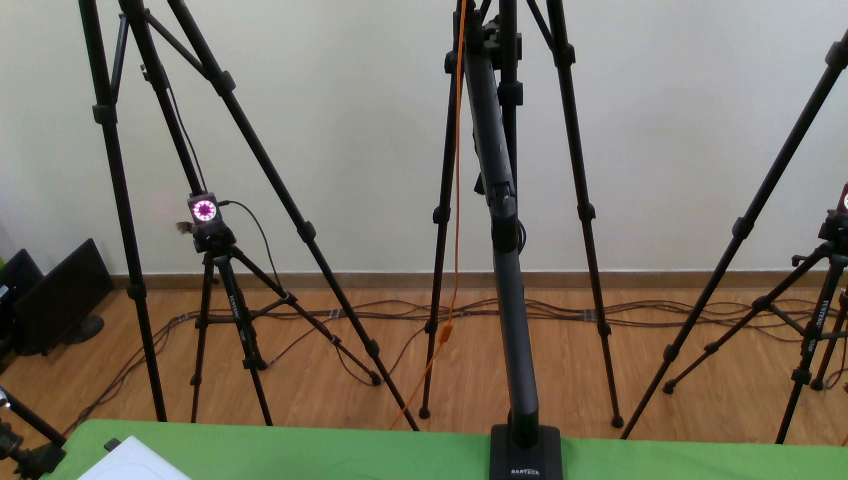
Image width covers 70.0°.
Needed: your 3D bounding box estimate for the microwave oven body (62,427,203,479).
[{"bbox_3d":[-0.402,0.501,0.697,0.323,0.262,0.441,18,43,30],"label":"microwave oven body"}]
